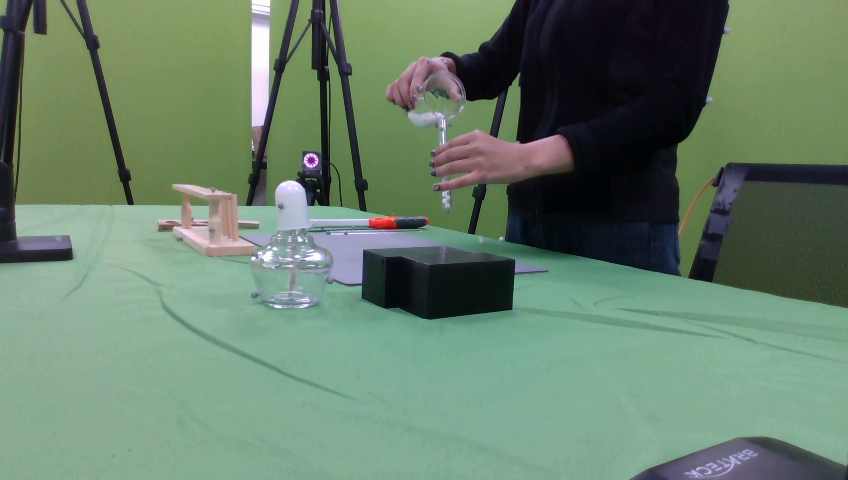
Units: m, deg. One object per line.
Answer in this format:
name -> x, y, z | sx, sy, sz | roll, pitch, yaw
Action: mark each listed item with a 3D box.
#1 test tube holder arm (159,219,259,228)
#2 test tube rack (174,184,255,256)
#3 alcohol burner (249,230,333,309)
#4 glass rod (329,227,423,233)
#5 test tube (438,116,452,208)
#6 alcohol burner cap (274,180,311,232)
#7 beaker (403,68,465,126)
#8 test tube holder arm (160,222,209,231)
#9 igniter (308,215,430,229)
test tube holder arm -> -0.390, -0.030, 1.107 | 0.179, 0.015, 0.013 | -4, 45, -39
test tube rack -> -0.327, -0.036, 0.928 | 0.067, 0.085, 0.241 | -2, 9, -32
alcohol burner -> -0.125, 0.004, 0.568 | 0.078, 0.119, 0.078 | 2, 10, 0
glass rod -> -0.087, -0.020, 1.148 | 0.201, 0.008, 0.008 | -3, 8, -32
test tube -> 0.032, -0.121, 0.929 | 0.017, 0.150, 0.017 | -2, -17, 0
alcohol burner cap -> -0.125, -0.032, 0.563 | 0.034, 0.048, 0.034 | -5, 6, 1
beaker -> 0.013, -0.228, 0.995 | 0.074, 0.084, 0.100 | 4, -2, -23
test tube holder arm -> -0.423, -0.025, 1.076 | 0.088, 0.015, 0.010 | -3, 45, -38
igniter -> -0.109, -0.036, 1.228 | 0.278, 0.025, 0.057 | -3, -1, -35
